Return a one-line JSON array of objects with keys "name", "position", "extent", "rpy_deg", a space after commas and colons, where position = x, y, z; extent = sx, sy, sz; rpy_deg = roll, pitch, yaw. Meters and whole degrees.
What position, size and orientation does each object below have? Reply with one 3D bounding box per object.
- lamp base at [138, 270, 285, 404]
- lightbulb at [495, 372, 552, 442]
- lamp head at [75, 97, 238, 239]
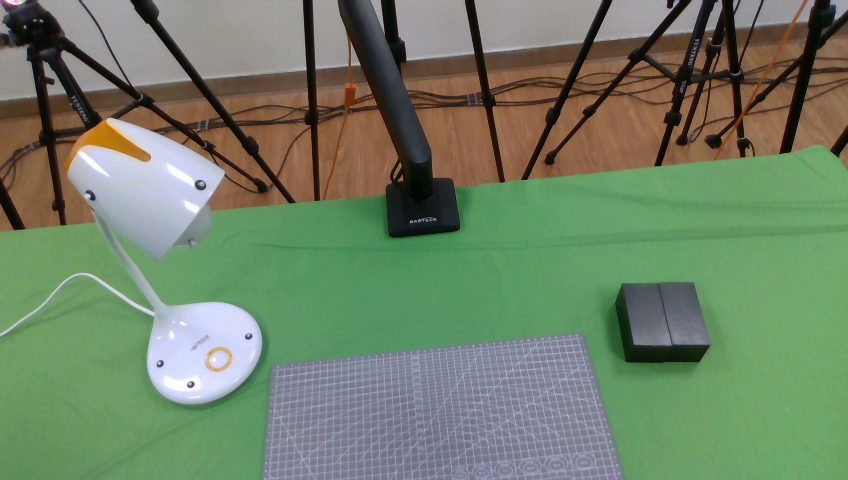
[{"name": "lamp base", "position": [-0.294, 0.109, 0.800], "extent": [0.179, 0.182, 0.159], "rpy_deg": [7, 53, 11]}, {"name": "lightbulb", "position": [0.124, 0.212, 0.785], "extent": [0.059, 0.060, 0.106], "rpy_deg": [-20, 39, -12]}, {"name": "lamp head", "position": [-0.257, -0.074, 0.571], "extent": [0.124, 0.112, 0.111], "rpy_deg": [28, 50, -22]}]
